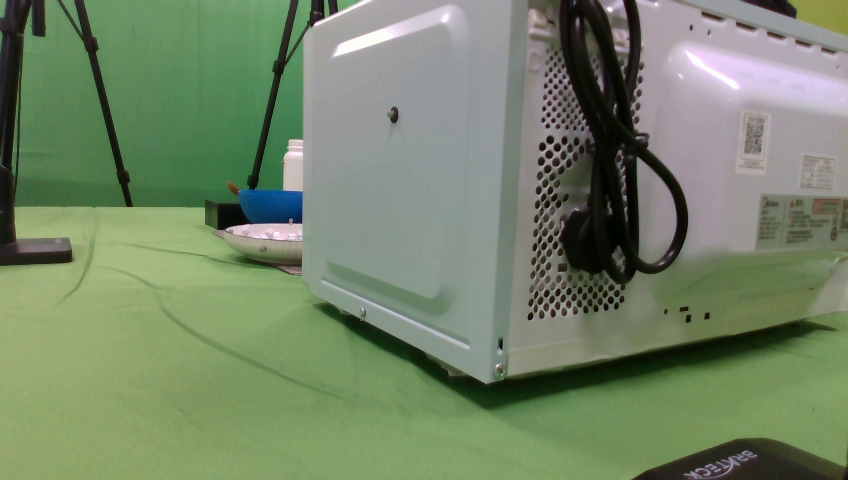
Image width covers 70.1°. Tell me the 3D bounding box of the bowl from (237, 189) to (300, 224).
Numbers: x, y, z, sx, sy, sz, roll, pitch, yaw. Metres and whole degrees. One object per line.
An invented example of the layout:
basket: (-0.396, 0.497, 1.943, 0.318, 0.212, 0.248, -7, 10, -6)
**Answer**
bowl: (-0.247, -0.046, 1.054, 0.151, 0.077, 0.151, 3, 8, 0)

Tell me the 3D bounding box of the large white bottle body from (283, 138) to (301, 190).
large white bottle body: (-0.265, -0.143, 1.423, 0.131, 0.184, 0.130, 2, 7, 0)

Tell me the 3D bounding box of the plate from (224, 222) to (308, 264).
plate: (-0.171, 0.004, 0.849, 0.209, 0.038, 0.209, 2, 7, 0)

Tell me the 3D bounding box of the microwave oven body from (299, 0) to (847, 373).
microwave oven body: (0.152, -0.055, 0.542, 0.444, 0.260, 0.324, -2, 7, -33)

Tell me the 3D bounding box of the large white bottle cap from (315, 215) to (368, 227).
large white bottle cap: (-0.177, -0.041, 1.308, 0.115, 0.018, 0.115, 2, 6, 0)

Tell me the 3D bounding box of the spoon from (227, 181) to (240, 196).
spoon: (-0.315, -0.074, 1.235, 0.195, 0.021, 0.041, 24, -10, -37)

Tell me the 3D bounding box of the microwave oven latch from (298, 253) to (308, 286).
microwave oven latch: (-0.081, 0.028, 0.582, 0.079, 0.029, 0.030, -2, 7, -32)

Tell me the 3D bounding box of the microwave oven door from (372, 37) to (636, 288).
microwave oven door: (0.110, -0.080, 0.686, 0.358, 0.243, 0.039, -2, 9, -33)
